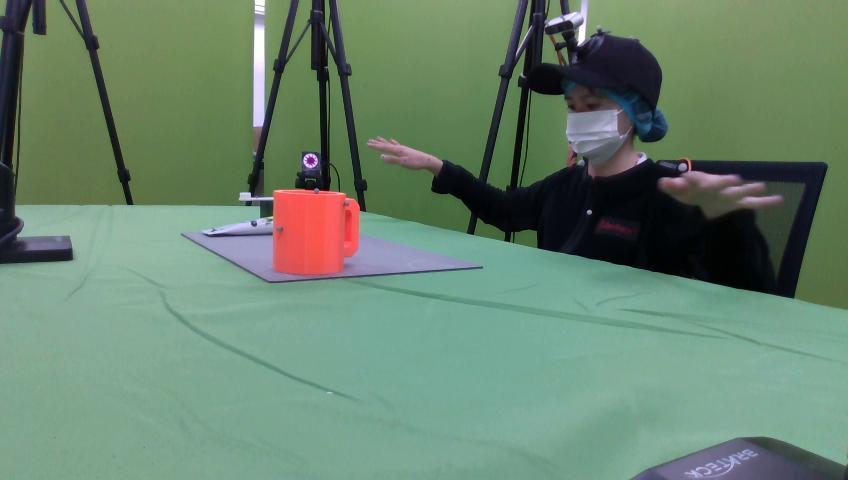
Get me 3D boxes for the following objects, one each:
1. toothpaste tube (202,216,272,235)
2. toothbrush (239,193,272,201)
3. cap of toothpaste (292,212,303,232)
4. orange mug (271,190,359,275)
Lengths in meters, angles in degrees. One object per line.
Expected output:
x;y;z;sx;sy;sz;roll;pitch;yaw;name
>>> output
-0.296;-0.023;1.053;0.166;0.034;0.055;-7;5;-34;toothpaste tube
-0.286;-0.087;1.236;0.183;0.016;0.014;-1;3;-30;toothbrush
-0.229;-0.032;1.094;0.011;0.037;0.037;-7;12;-34;cap of toothpaste
-0.131;-0.013;0.754;0.083;0.101;0.127;8;13;38;orange mug
